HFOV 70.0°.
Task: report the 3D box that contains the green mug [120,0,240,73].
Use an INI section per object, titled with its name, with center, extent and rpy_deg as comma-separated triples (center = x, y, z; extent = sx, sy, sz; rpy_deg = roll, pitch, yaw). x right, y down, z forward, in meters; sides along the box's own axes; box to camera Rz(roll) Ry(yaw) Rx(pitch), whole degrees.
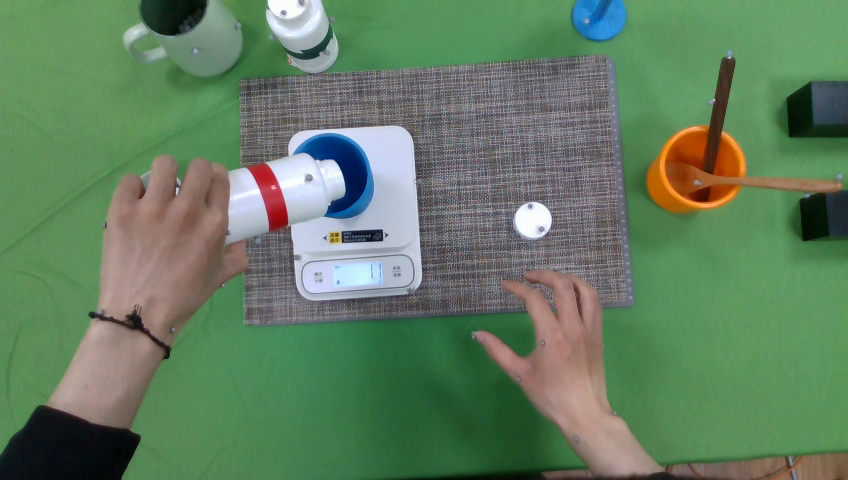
[green mug]
center = -0.288, -0.246, 0.705
extent = 0.125, 0.105, 0.092
rpy_deg = -26, 84, 0

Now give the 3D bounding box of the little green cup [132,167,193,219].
[little green cup]
center = -0.307, -0.053, 0.719
extent = 0.061, 0.039, 0.061
rpy_deg = 0, 83, 1

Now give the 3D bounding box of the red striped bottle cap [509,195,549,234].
[red striped bottle cap]
center = 0.123, -0.030, 0.707
extent = 0.045, 0.018, 0.044
rpy_deg = 3, 78, -11

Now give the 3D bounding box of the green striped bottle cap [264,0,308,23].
[green striped bottle cap]
center = -0.147, -0.254, 0.640
extent = 0.044, 0.020, 0.044
rpy_deg = 0, 83, 2

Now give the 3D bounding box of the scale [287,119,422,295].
[scale]
center = -0.083, -0.039, 0.710
extent = 0.148, 0.031, 0.200
rpy_deg = -5, 85, 2

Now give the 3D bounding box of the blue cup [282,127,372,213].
[blue cup]
center = -0.094, -0.066, 0.647
extent = 0.092, 0.100, 0.092
rpy_deg = 0, 86, 3

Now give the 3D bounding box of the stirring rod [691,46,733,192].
[stirring rod]
center = 0.306, -0.122, 0.648
extent = 0.014, 0.178, 0.006
rpy_deg = 4, 44, 16

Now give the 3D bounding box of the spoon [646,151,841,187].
[spoon]
center = 0.328, -0.072, 0.642
extent = 0.022, 0.192, 0.041
rpy_deg = 8, 92, -40

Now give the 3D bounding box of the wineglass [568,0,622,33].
[wineglass]
center = 0.204, -0.293, 0.656
extent = 0.074, 0.172, 0.073
rpy_deg = 0, 84, 3

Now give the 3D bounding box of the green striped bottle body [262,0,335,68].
[green striped bottle body]
center = -0.143, -0.248, 0.692
extent = 0.063, 0.119, 0.063
rpy_deg = 0, 84, 3

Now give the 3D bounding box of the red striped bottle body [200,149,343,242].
[red striped bottle body]
center = -0.136, -0.045, 0.555
extent = 0.120, 0.063, 0.063
rpy_deg = -20, 83, -26
